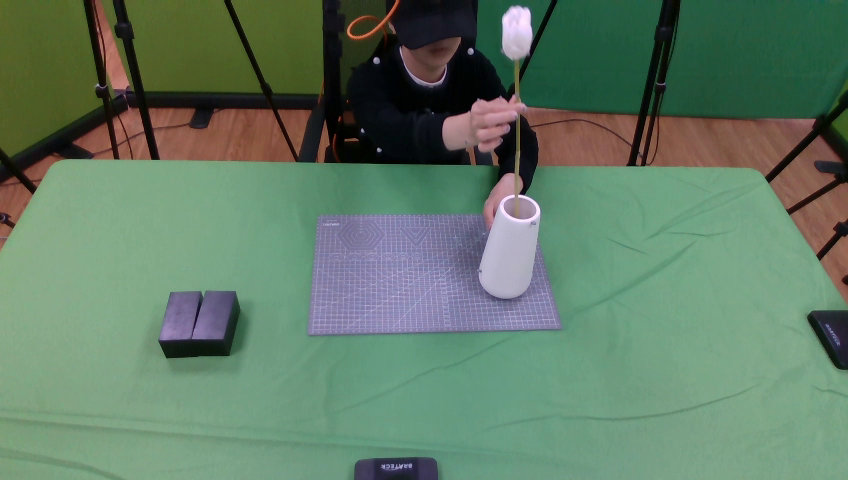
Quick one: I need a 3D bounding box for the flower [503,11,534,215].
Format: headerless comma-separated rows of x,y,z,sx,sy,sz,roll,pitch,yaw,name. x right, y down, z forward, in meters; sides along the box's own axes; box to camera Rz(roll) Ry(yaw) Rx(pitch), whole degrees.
0.134,-0.157,0.880,0.038,0.364,0.044,-6,50,2,flower

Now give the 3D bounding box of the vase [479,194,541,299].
0.153,0.015,1.066,0.098,0.201,0.097,1,47,-1,vase
